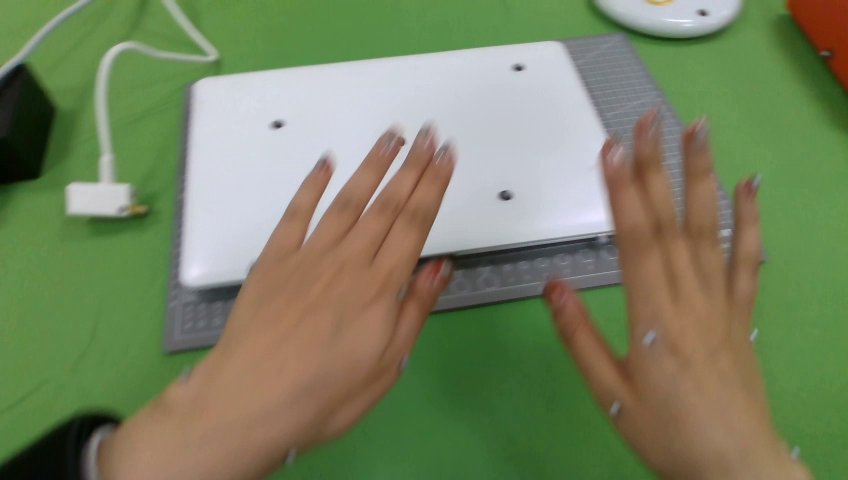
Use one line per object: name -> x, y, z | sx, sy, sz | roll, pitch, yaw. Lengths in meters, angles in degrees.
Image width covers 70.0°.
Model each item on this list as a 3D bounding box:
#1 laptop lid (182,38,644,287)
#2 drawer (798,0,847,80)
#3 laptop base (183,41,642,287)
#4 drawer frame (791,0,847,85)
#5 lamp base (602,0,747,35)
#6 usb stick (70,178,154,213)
laptop lid -> -0.018, -0.082, 0.513 | 0.357, 0.013, 0.239 | -6, 56, -4
drawer -> 0.496, -0.190, 0.565 | 0.194, 0.074, 0.209 | -3, 53, -1
laptop base -> -0.019, -0.077, 0.524 | 0.355, 0.023, 0.233 | -7, 57, -5
drawer frame -> 0.495, -0.193, 0.566 | 0.202, 0.083, 0.211 | -4, 53, -1
lamp base -> 0.274, -0.332, 0.611 | 0.160, 0.182, 0.178 | 20, 54, 15
usb stick -> -0.248, -0.035, 0.486 | 0.059, 0.021, 0.027 | 5, 89, -10
